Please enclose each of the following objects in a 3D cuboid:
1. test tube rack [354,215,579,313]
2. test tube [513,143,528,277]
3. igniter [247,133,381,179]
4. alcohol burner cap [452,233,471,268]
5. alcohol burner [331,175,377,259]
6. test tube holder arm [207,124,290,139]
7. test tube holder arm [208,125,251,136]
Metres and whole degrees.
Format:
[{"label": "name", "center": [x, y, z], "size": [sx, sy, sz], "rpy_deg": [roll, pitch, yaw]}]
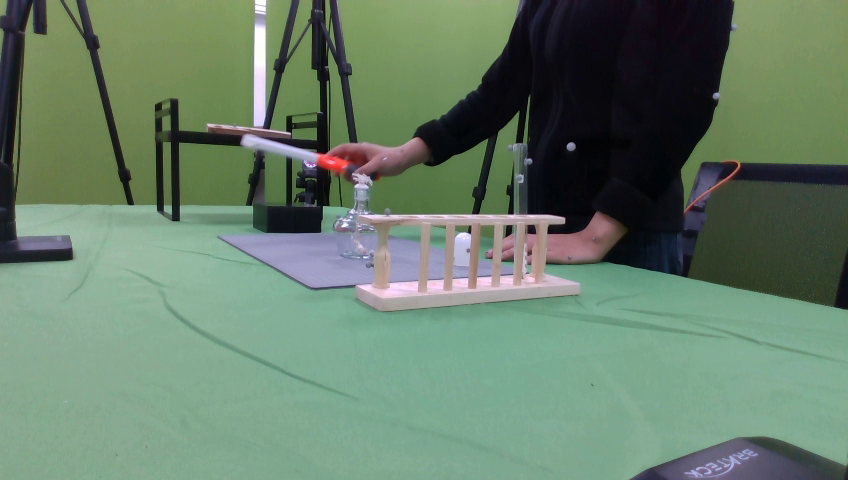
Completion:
[{"label": "test tube rack", "center": [0.053, 0.019, 0.635], "size": [0.243, 0.085, 0.066], "rpy_deg": [-1, 8, -29]}, {"label": "test tube", "center": [0.108, -0.033, 0.677], "size": [0.017, 0.150, 0.017], "rpy_deg": [-1, 8, 1]}, {"label": "igniter", "center": [-0.183, -0.144, 1.067], "size": [0.057, 0.025, 0.278], "rpy_deg": [27, 11, 40]}, {"label": "alcohol burner cap", "center": [0.053, 0.014, 0.823], "size": [0.034, 0.048, 0.034], "rpy_deg": [3, 6, 0]}, {"label": "alcohol burner", "center": [-0.091, -0.033, 0.855], "size": [0.078, 0.119, 0.078], "rpy_deg": [4, 7, 0]}, {"label": "test tube holder arm", "center": [-0.381, -0.237, 1.327], "size": [0.179, 0.015, 0.013], "rpy_deg": [0, 42, -32]}, {"label": "test tube holder arm", "center": [-0.418, -0.234, 1.299], "size": [0.088, 0.015, 0.010], "rpy_deg": [1, 41, -32]}]
